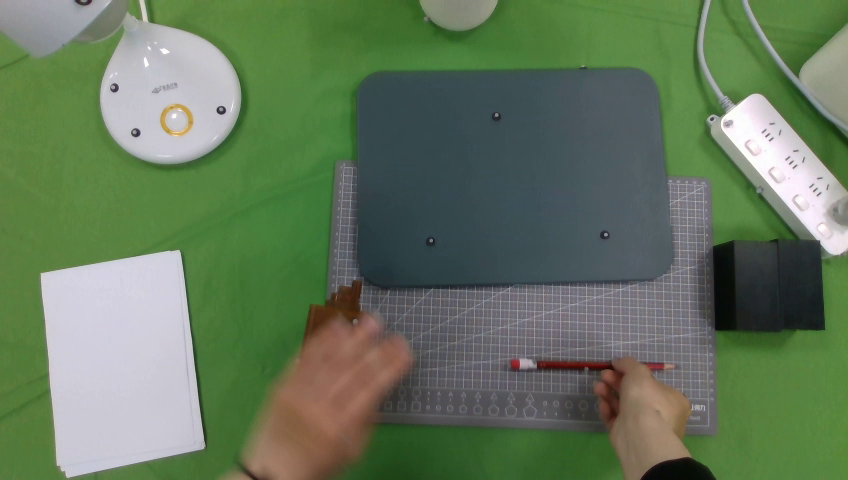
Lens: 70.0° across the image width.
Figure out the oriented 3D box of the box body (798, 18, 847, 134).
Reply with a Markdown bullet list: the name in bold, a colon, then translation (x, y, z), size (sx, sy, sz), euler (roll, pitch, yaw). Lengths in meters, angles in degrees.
- **box body**: translation (0.652, -0.165, 0.677), size (0.254, 0.161, 0.363), euler (-41, 85, -7)

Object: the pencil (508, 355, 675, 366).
- **pencil**: translation (0.192, 0.137, 0.688), size (0.194, 0.012, 0.012), euler (1, 81, -4)

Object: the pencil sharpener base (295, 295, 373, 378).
- **pencil sharpener base**: translation (-0.090, 0.100, 0.633), size (0.061, 0.107, 0.076), euler (9, 80, 0)

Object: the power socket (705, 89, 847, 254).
- **power socket**: translation (0.433, -0.081, 0.722), size (0.072, 0.032, 0.226), euler (-37, 85, -7)

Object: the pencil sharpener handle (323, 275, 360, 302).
- **pencil sharpener handle**: translation (-0.080, 0.048, 0.629), size (0.036, 0.068, 0.030), euler (7, 80, 7)

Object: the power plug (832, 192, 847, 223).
- **power plug**: translation (0.503, -0.046, 0.696), size (0.072, 0.053, 0.035), euler (-27, 81, -11)

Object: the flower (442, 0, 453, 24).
- **flower**: translation (0.056, -0.343, 0.577), size (0.044, 0.363, 0.038), euler (-24, 71, -21)

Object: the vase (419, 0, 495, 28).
- **vase**: translation (0.043, -0.317, 0.656), size (0.098, 0.200, 0.098), euler (1, 80, -3)

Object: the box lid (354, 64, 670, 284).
- **box lid**: translation (0.104, -0.082, 0.718), size (0.372, 0.015, 0.262), euler (-2, 82, -2)

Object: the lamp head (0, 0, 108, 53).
- **lamp head**: translation (-0.250, -0.194, 0.357), size (0.112, 0.124, 0.111), euler (-21, 48, 25)

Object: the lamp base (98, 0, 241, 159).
- **lamp base**: translation (-0.299, -0.194, 0.632), size (0.160, 0.181, 0.178), euler (-28, 81, -6)
